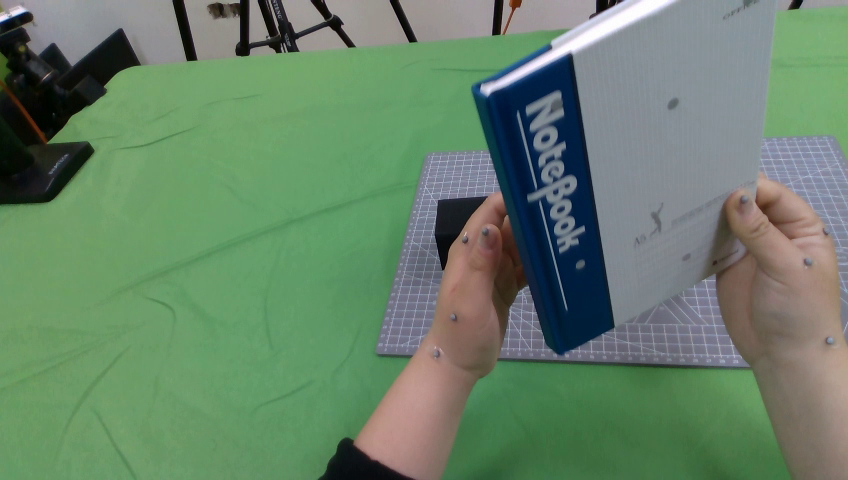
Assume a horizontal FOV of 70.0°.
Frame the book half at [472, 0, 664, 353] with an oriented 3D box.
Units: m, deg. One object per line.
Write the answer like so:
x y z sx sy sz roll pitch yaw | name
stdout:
0.116 -0.032 0.342 0.148 0.212 0.016 -30 44 -7 | book half

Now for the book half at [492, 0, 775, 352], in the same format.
0.123 -0.027 0.333 0.143 0.212 0.007 -27 43 -3 | book half
